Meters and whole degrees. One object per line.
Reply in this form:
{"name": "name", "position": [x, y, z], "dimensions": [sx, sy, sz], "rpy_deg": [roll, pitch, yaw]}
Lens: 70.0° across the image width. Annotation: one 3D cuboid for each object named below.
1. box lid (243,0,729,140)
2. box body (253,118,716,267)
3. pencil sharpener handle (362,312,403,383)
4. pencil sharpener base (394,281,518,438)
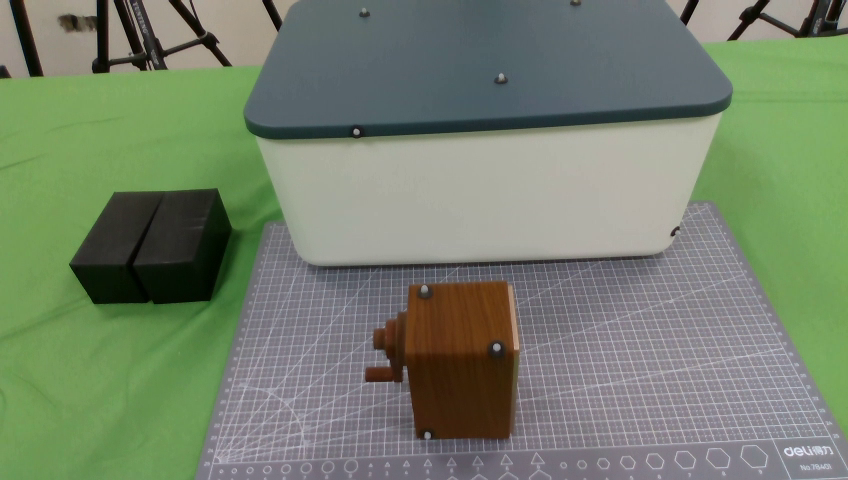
{"name": "box lid", "position": [0.043, -0.167, 0.535], "dimensions": [0.371, 0.015, 0.260], "rpy_deg": [-2, 41, 2]}
{"name": "box body", "position": [0.050, -0.112, 0.585], "dimensions": [0.364, 0.162, 0.251], "rpy_deg": [-2, 42, 2]}
{"name": "pencil sharpener handle", "position": [-0.030, 0.077, 0.408], "dimensions": [0.030, 0.068, 0.035], "rpy_deg": [-2, 46, 3]}
{"name": "pencil sharpener base", "position": [0.022, 0.084, 0.414], "dimensions": [0.076, 0.108, 0.061], "rpy_deg": [-2, 43, 3]}
